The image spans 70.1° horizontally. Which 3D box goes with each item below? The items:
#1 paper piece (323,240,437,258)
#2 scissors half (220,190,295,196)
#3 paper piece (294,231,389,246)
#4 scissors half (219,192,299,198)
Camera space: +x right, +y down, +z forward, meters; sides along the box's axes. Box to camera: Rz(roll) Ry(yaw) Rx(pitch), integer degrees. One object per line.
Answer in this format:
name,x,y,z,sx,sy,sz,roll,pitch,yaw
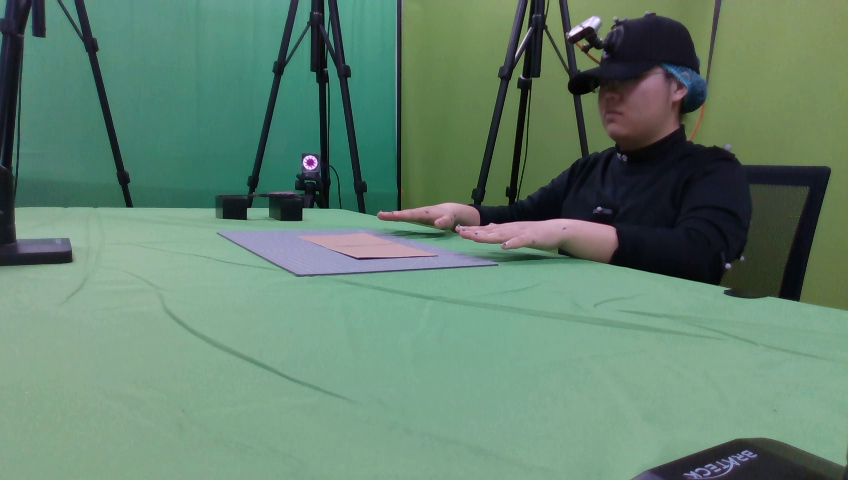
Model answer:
paper piece,-0.069,0.015,0.932,0.137,0.008,0.137,-5,10,-30
scissors half,-0.379,-0.105,1.380,0.176,0.013,0.040,-5,16,-36
paper piece,-0.138,-0.003,1.045,0.136,0.004,0.134,-3,10,-30
scissors half,-0.370,-0.101,1.363,0.176,0.013,0.040,-2,9,-19
